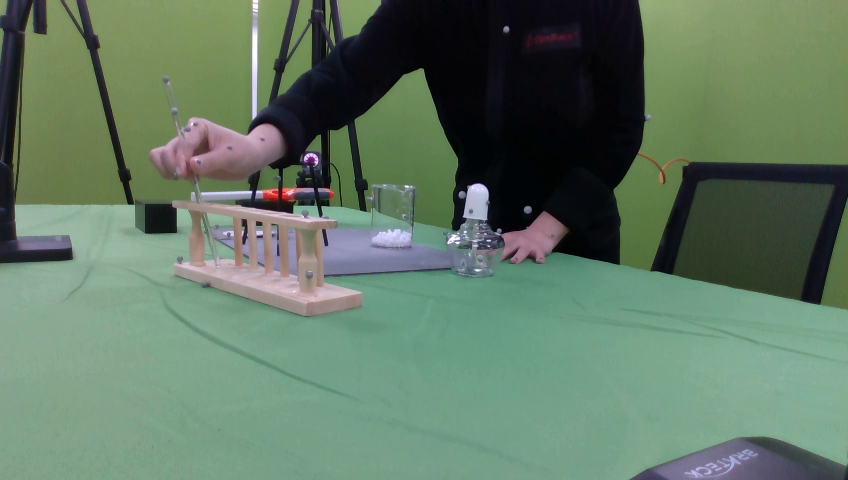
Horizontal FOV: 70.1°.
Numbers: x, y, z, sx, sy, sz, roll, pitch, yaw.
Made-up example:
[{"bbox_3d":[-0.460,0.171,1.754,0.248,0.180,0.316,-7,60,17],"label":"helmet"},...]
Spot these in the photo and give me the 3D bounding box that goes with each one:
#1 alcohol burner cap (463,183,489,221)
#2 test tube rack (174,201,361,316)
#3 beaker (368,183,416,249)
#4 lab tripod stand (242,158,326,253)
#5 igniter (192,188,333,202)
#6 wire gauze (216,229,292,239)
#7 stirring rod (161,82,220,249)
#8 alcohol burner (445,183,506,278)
[{"bbox_3d":[0.067,-0.048,0.765,0.034,0.048,0.034,5,5,0],"label":"alcohol burner cap"},{"bbox_3d":[-0.169,0.010,0.621,0.241,0.085,0.067,9,9,41],"label":"test tube rack"},{"bbox_3d":[-0.051,-0.039,0.971,0.074,0.100,0.083,-1,9,-25],"label":"beaker"},{"bbox_3d":[-0.207,-0.054,0.894,0.148,0.131,0.148,3,5,0],"label":"lab tripod stand"},{"bbox_3d":[-0.316,-0.090,1.212,0.278,0.025,0.057,-5,12,-32],"label":"igniter"},{"bbox_3d":[-0.298,-0.013,1.039,0.122,0.011,0.124,-2,6,-27],"label":"wire gauze"},{"bbox_3d":[-0.243,-0.075,0.631,0.014,0.176,0.006,-21,13,-37],"label":"stirring rod"},{"bbox_3d":[0.065,-0.013,0.770,0.078,0.119,0.078,0,7,0],"label":"alcohol burner"}]
